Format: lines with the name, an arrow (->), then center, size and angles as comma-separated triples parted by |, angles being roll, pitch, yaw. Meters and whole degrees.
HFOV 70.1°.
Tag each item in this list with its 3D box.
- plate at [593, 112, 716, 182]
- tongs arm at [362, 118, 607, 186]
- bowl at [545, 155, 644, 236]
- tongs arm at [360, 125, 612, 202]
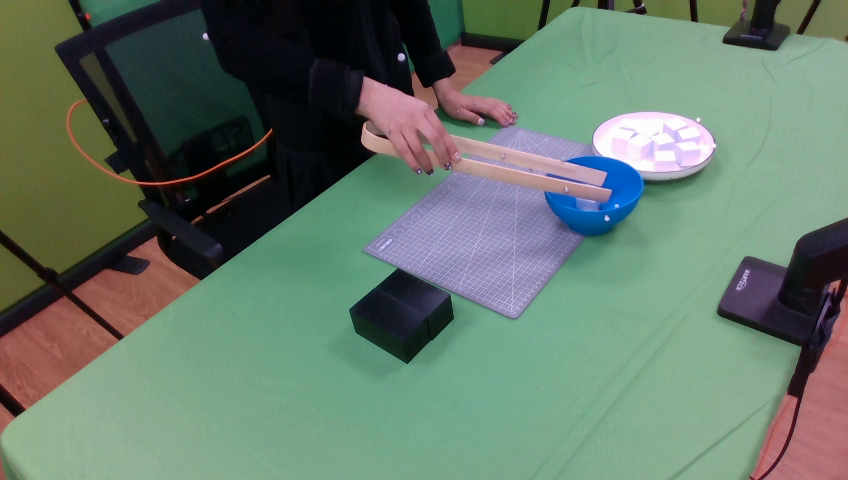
plate -> 0.408, -0.163, 1.084 | 0.207, 0.039, 0.206 | -4, 40, 4
tongs arm -> 0.095, -0.129, 0.926 | 0.385, 0.026, 0.050 | 14, 39, -2
bowl -> 0.266, -0.061, 0.957 | 0.151, 0.077, 0.150 | -5, 40, 5
tongs arm -> 0.093, -0.111, 0.903 | 0.388, 0.028, 0.028 | 13, 42, -4
